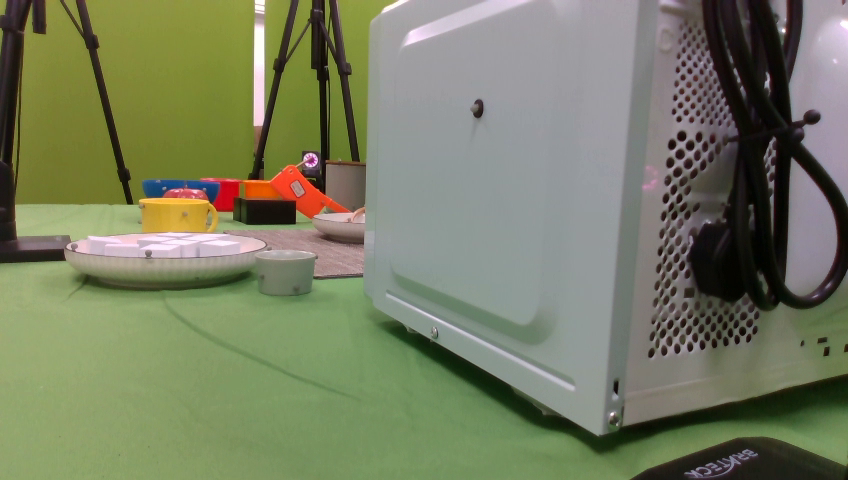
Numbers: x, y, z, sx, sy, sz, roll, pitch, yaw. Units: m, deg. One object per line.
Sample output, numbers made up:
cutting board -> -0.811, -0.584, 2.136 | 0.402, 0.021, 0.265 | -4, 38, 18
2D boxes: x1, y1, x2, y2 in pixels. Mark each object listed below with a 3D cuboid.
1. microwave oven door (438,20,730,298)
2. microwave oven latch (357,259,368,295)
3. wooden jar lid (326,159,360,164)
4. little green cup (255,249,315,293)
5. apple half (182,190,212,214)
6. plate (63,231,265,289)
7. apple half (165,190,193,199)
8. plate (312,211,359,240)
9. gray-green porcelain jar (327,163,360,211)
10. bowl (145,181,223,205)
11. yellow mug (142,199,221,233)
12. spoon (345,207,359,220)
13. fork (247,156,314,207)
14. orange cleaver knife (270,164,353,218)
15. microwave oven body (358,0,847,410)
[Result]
microwave oven door -> 0.181, -0.076, 0.618 | 0.358, 0.243, 0.039 | -2, 8, -28
microwave oven latch -> -0.019, 0.031, 0.529 | 0.079, 0.029, 0.030 | -1, 7, -27
wooden jar lid -> -0.185, -0.187, 1.481 | 0.108, 0.020, 0.108 | 4, 6, 0
little green cup -> -0.144, 0.031, 0.627 | 0.061, 0.038, 0.061 | 2, 6, 0
apple half -> -0.402, -0.054, 1.090 | 0.033, 0.081, 0.081 | 0, 7, 12
plate -> -0.288, 0.021, 0.687 | 0.208, 0.039, 0.207 | 2, 8, 0
apple half -> -0.441, -0.055, 1.097 | 0.053, 0.074, 0.081 | 0, 10, 12
plate -> -0.091, -0.026, 1.063 | 0.209, 0.038, 0.209 | 2, 7, 0
gray-green porcelain jar -> -0.186, -0.125, 1.490 | 0.106, 0.126, 0.106 | 2, 7, 0
bowl -> -0.499, -0.081, 1.261 | 0.151, 0.077, 0.151 | 2, 8, 0
yellow mug -> -0.372, -0.030, 0.948 | 0.099, 0.064, 0.131 | 6, 7, 30
spoon -> -0.126, -0.047, 1.117 | 0.041, 0.021, 0.194 | -2, 18, 14
fork -> -0.360, -0.147, 1.522 | 0.207, 0.018, 0.028 | -43, 14, -7
orange cleaver knife -> -0.240, -0.088, 1.329 | 0.212, 0.077, 0.012 | 36, -9, -33
microwave oven body -> 0.210, -0.051, 0.471 | 0.444, 0.260, 0.324 | -1, 7, -28
